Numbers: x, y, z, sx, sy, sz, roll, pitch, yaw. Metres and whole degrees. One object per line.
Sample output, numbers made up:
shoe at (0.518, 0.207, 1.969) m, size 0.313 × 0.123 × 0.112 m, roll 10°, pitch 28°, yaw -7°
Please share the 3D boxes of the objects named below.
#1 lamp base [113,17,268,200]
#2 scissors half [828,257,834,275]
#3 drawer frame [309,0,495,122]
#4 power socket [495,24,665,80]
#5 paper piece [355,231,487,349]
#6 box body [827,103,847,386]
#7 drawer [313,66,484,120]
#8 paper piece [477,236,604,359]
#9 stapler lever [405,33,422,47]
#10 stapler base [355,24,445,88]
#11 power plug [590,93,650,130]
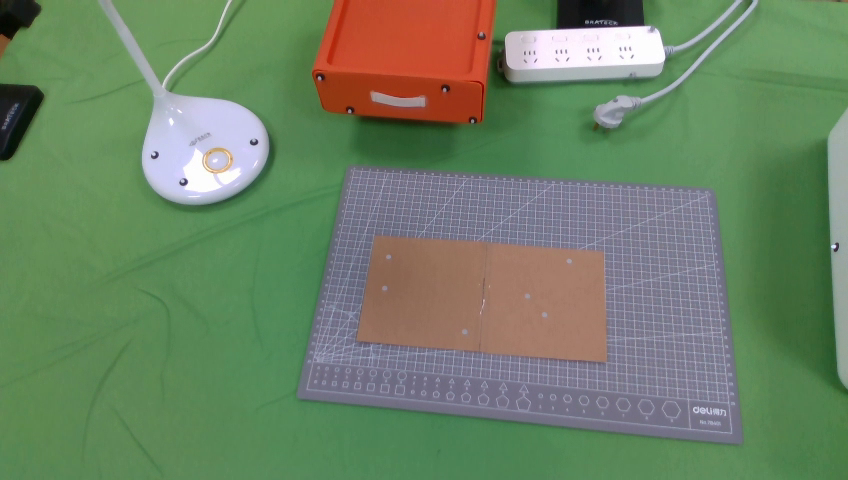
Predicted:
lamp base at (-0.295, -0.163, 0.715) m, size 0.178 × 0.182 × 0.160 m, roll 35°, pitch 69°, yaw 23°
scissors half at (0.517, 0.000, 0.673) m, size 0.175 × 0.013 × 0.039 m, roll -22°, pitch 65°, yaw -13°
drawer frame at (-0.018, -0.259, 0.757) m, size 0.201 × 0.083 × 0.212 m, roll 5°, pitch 62°, yaw 6°
power socket at (0.211, -0.254, 0.820) m, size 0.227 × 0.033 × 0.071 m, roll -1°, pitch 63°, yaw 3°
paper piece at (-0.001, 0.052, 0.683) m, size 0.136 × 0.009 × 0.137 m, roll 3°, pitch 64°, yaw 8°
box body at (0.564, -0.008, 0.597) m, size 0.253 × 0.162 × 0.361 m, roll 12°, pitch 64°, yaw 9°
drawer at (-0.016, -0.257, 0.756) m, size 0.194 × 0.074 × 0.210 m, roll 5°, pitch 62°, yaw 7°
paper piece at (0.130, 0.061, 0.670) m, size 0.135 × 0.004 × 0.134 m, roll 5°, pitch 63°, yaw 6°
stapler lever at (-0.043, -0.245, 0.743) m, size 0.117 × 0.040 × 0.027 m, roll 34°, pitch 85°, yaw 23°
stapler base at (-0.034, -0.238, 0.767) m, size 0.129 × 0.024 × 0.041 m, roll 34°, pitch 86°, yaw 21°
power plug at (0.246, -0.158, 0.765) m, size 0.073 × 0.053 × 0.035 m, roll 6°, pitch 57°, yaw -16°
